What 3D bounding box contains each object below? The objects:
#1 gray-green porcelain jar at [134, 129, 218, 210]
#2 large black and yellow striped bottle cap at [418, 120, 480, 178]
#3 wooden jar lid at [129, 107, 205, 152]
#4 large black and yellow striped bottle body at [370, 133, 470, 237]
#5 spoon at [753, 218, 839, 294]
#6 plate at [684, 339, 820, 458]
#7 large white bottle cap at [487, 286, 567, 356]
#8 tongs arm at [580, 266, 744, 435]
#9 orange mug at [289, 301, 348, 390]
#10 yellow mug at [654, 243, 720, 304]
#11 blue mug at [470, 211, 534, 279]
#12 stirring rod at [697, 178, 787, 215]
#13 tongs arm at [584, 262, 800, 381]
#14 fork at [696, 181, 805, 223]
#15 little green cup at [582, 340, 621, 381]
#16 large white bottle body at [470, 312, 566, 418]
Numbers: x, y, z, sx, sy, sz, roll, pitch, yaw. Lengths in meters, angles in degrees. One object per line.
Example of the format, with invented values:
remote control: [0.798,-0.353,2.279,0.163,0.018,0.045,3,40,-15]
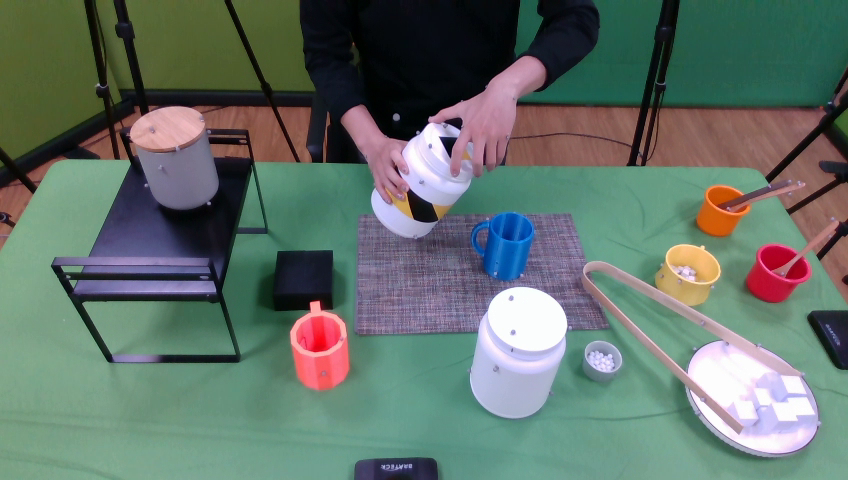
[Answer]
gray-green porcelain jar: [-0.388,-0.120,0.960,0.106,0.127,0.105,2,46,-2]
large black and yellow striped bottle cap: [0.043,-0.154,1.020,0.115,0.019,0.114,22,45,-24]
wooden jar lid: [-0.385,-0.163,0.915,0.108,0.021,0.107,2,47,-2]
large black and yellow striped bottle body: [-0.001,-0.105,1.073,0.131,0.184,0.130,22,43,-22]
spoon: [0.700,0.031,1.138,0.194,0.022,0.041,-47,55,14]
plate: [0.523,0.256,0.982,0.208,0.039,0.206,2,46,-2]
large white bottle cap: [0.147,0.114,0.869,0.115,0.018,0.114,3,46,-3]
tongs arm: [0.384,0.173,1.028,0.028,0.028,0.385,-25,46,-15]
orange mug: [-0.170,0.162,0.976,0.083,0.101,0.125,-8,52,-11]
yellow mug: [0.504,0.054,1.154,0.099,0.064,0.130,29,50,22]
blue mug: [0.141,0.005,1.140,0.116,0.106,0.082,18,48,13]
stirring rod: [0.650,-0.088,1.246,0.006,0.176,0.014,29,49,-38]
tongs arm: [0.452,0.137,1.064,0.051,0.027,0.382,-34,50,-27]
fork: [0.659,-0.077,1.231,0.207,0.019,0.028,-26,35,34]
little green cup: [0.295,0.204,1.014,0.061,0.039,0.061,2,45,-2]
large white bottle body: [0.143,0.173,0.930,0.131,0.185,0.130,2,46,-2]
